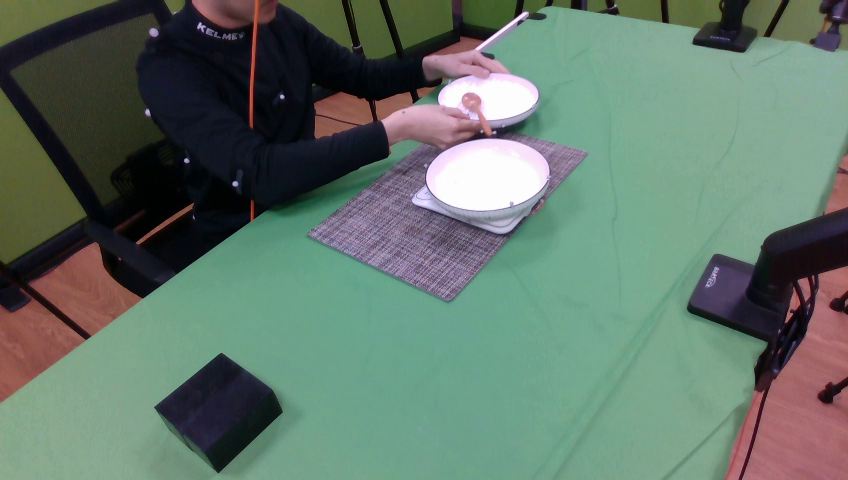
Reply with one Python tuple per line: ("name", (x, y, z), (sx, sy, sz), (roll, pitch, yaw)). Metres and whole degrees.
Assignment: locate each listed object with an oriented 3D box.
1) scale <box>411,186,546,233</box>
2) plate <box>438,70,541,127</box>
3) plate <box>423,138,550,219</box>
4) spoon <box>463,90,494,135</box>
("scale", (0.092, -0.083, 1.039), (0.199, 0.032, 0.149), (22, 48, 30))
("plate", (0.133, -0.285, 1.234), (0.209, 0.038, 0.208), (-3, 41, 3))
("plate", (0.104, -0.099, 1.005), (0.207, 0.039, 0.206), (-4, 41, 4))
("spoon", (0.108, -0.249, 1.170), (0.042, 0.022, 0.192), (-8, 33, -3))
